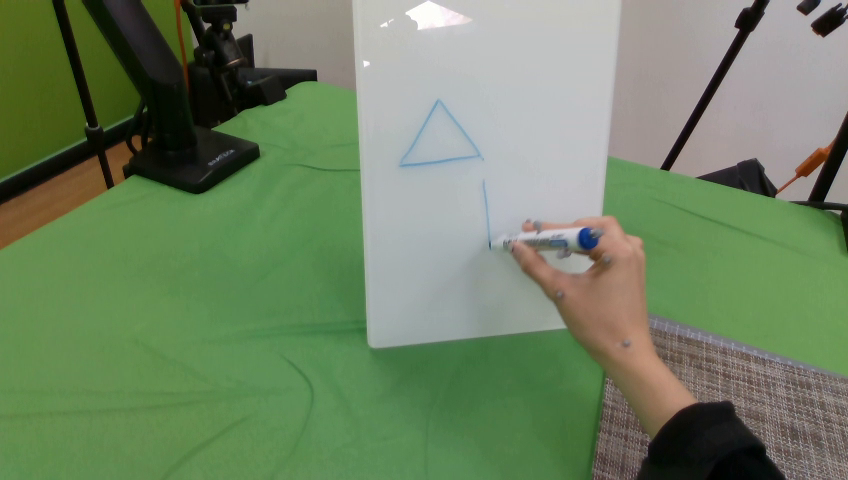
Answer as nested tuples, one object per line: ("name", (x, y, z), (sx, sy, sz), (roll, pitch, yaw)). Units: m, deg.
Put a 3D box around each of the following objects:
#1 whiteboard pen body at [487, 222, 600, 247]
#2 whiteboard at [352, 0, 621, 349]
("whiteboard pen body", (0.084, -0.003, 0.461), (0.017, 0.017, 0.140), (-14, 4, -23))
("whiteboard", (0.042, -0.078, 0.569), (0.218, 0.307, 0.142), (-4, 19, -11))
